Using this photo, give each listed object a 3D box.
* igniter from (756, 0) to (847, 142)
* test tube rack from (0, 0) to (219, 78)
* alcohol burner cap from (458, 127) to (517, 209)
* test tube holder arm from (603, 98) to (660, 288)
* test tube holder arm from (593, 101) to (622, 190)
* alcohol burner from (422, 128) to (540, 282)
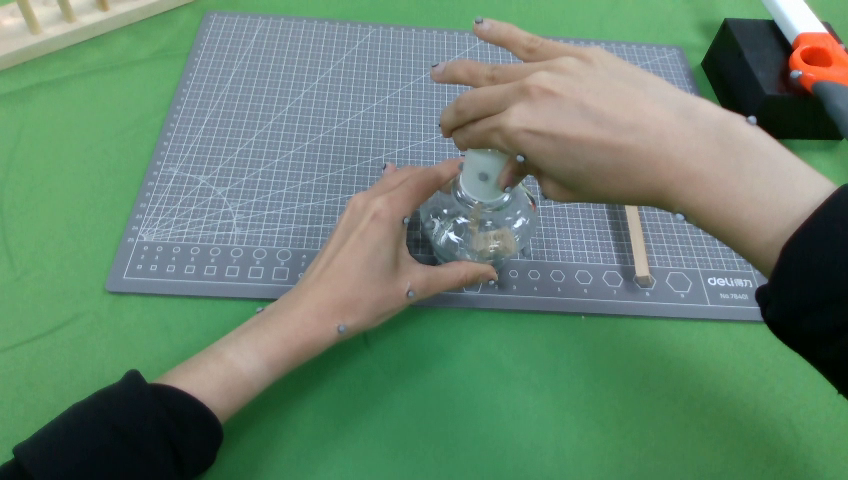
[{"bbox_3d":[0.325,-0.157,0.504,0.057,0.025,0.273,-1,52,-2],"label":"igniter"},{"bbox_3d":[-0.277,-0.234,0.523,0.242,0.086,0.066,-33,63,-25],"label":"test tube rack"},{"bbox_3d":[0.038,-0.045,0.357,0.034,0.048,0.033,2,56,-2],"label":"alcohol burner cap"},{"bbox_3d":[0.156,-0.043,0.465,0.013,0.015,0.176,-20,51,24],"label":"test tube holder arm"},{"bbox_3d":[0.150,-0.078,0.493,0.010,0.015,0.087,-19,52,24],"label":"test tube holder arm"},{"bbox_3d":[0.038,-0.026,0.384,0.078,0.120,0.077,2,55,-3],"label":"alcohol burner"}]
